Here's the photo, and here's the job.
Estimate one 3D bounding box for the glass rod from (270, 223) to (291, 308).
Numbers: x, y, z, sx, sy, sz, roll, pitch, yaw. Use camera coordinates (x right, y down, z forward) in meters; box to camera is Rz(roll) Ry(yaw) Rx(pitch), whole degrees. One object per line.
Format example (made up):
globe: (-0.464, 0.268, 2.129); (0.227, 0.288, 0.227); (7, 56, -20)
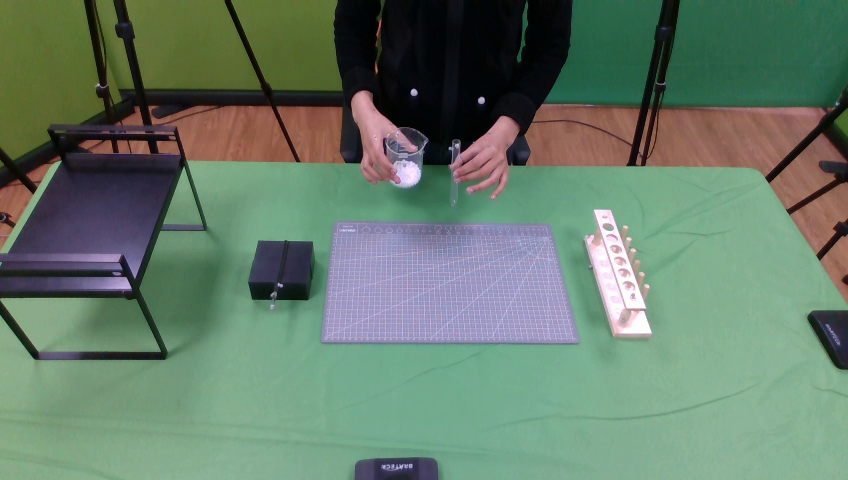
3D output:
glass rod: (-0.255, 0.041, 1.082); (0.008, 0.008, 0.198); (2, 46, -2)

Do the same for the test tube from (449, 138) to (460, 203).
test tube: (0.058, -0.129, 1.160); (0.017, 0.151, 0.017); (0, 45, 0)

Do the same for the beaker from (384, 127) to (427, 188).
beaker: (-0.036, -0.155, 1.157); (0.084, 0.101, 0.073); (-13, 56, -14)

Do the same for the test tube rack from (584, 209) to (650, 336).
test tube rack: (0.365, 0.056, 1.129); (0.067, 0.085, 0.240); (1, 46, -3)
